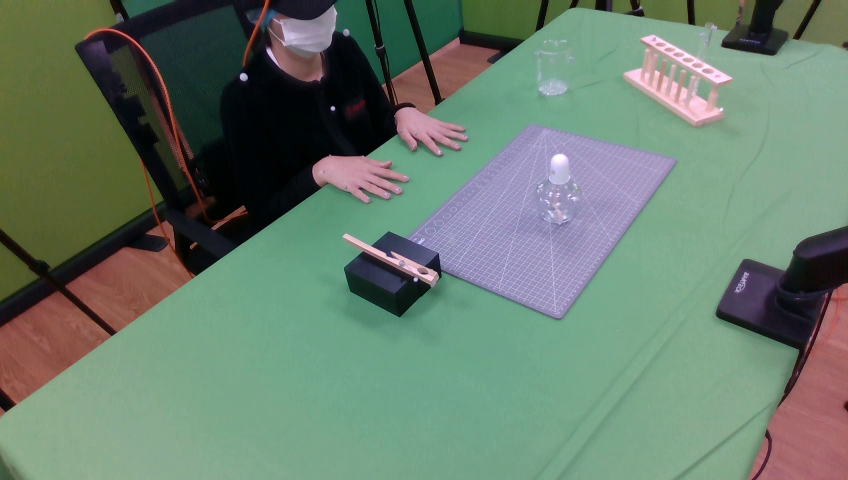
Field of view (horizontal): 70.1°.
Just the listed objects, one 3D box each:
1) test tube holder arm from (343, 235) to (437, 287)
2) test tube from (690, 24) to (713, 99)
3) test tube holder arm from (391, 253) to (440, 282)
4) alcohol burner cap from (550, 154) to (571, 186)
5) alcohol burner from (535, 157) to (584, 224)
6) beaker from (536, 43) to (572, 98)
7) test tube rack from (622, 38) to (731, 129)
[{"bbox_3d":[-0.053,0.028,0.879,0.177,0.015,0.013,22,57,32],"label":"test tube holder arm"},{"bbox_3d":[0.534,-0.342,1.172,0.017,0.151,0.017,-3,41,3],"label":"test tube"},{"bbox_3d":[-0.015,0.039,0.858,0.087,0.015,0.010,23,57,32],"label":"test tube holder arm"},{"bbox_3d":[0.212,-0.112,0.944,0.034,0.048,0.033,-7,44,7],"label":"alcohol burner cap"},{"bbox_3d":[0.217,-0.085,0.967,0.078,0.119,0.077,-3,41,3],"label":"alcohol burner"},{"bbox_3d":[0.280,-0.368,1.311,0.074,0.101,0.084,4,41,14],"label":"beaker"},{"bbox_3d":[0.506,-0.325,1.234,0.067,0.085,0.240,-18,41,-11],"label":"test tube rack"}]
